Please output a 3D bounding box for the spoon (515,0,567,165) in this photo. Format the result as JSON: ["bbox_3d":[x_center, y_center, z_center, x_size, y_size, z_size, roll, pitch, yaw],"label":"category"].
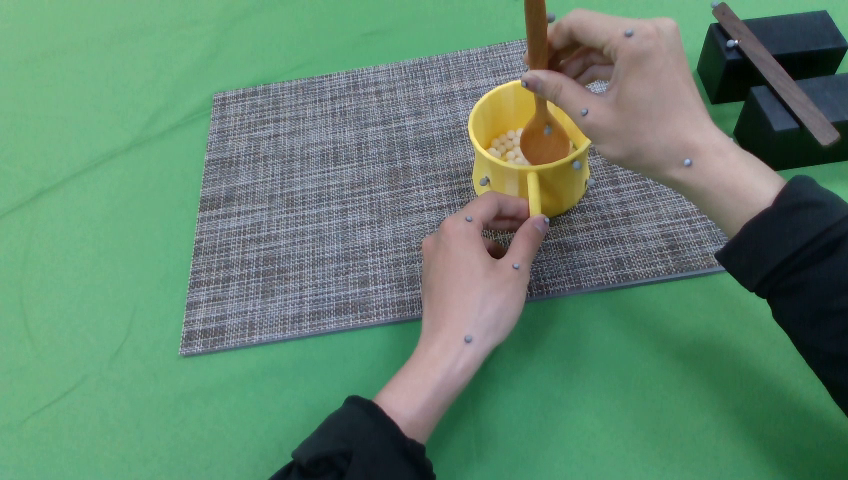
[{"bbox_3d":[0.081,-0.105,0.431,0.041,0.195,0.021,5,72,14],"label":"spoon"}]

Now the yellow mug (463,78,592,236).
[{"bbox_3d":[0.084,-0.063,0.488,0.100,0.064,0.129,-3,56,7],"label":"yellow mug"}]

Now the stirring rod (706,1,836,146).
[{"bbox_3d":[0.275,-0.140,0.490,0.014,0.006,0.174,-36,50,27],"label":"stirring rod"}]
